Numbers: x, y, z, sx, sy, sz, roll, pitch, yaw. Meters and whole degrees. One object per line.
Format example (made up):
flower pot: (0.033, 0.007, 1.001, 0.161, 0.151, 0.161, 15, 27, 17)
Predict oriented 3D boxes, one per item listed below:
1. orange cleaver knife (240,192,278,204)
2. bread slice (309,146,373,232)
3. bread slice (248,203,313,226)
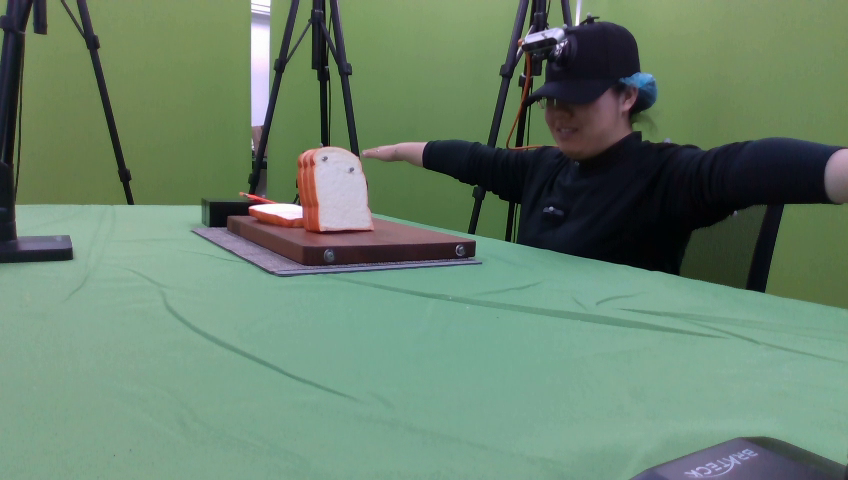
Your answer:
orange cleaver knife: (-0.268, -0.064, 1.235, 0.212, 0.012, 0.077, 17, -2, -26)
bread slice: (-0.133, -0.077, 0.928, 0.018, 0.134, 0.107, -14, -5, 42)
bread slice: (-0.228, -0.043, 1.022, 0.131, 0.019, 0.105, 14, 14, 37)
